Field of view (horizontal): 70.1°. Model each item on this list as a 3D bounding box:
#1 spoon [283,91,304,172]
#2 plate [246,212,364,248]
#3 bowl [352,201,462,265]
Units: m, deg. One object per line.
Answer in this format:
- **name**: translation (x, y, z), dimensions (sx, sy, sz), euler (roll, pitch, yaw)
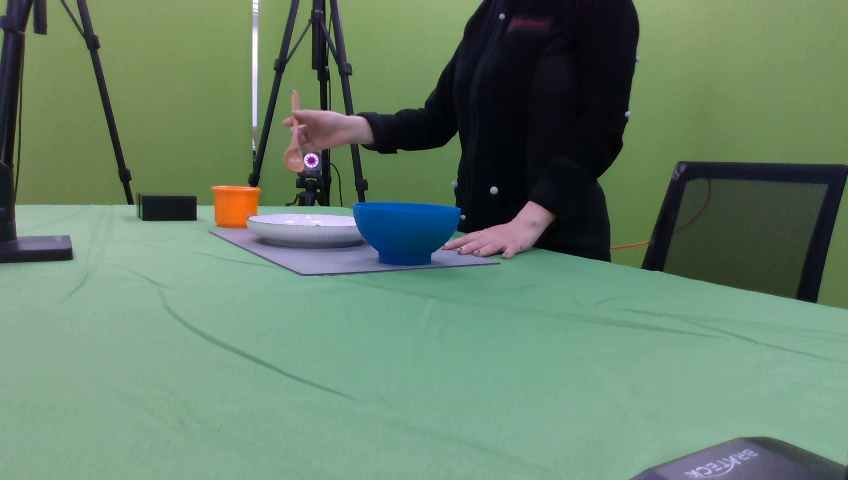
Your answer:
- **spoon**: translation (-0.252, -0.216, 1.188), dimensions (0.042, 0.193, 0.021), euler (9, -25, -26)
- **plate**: translation (-0.185, -0.017, 0.994), dimensions (0.209, 0.038, 0.209), euler (3, 8, 0)
- **bowl**: translation (-0.025, -0.009, 0.831), dimensions (0.151, 0.077, 0.151), euler (3, 7, 0)
